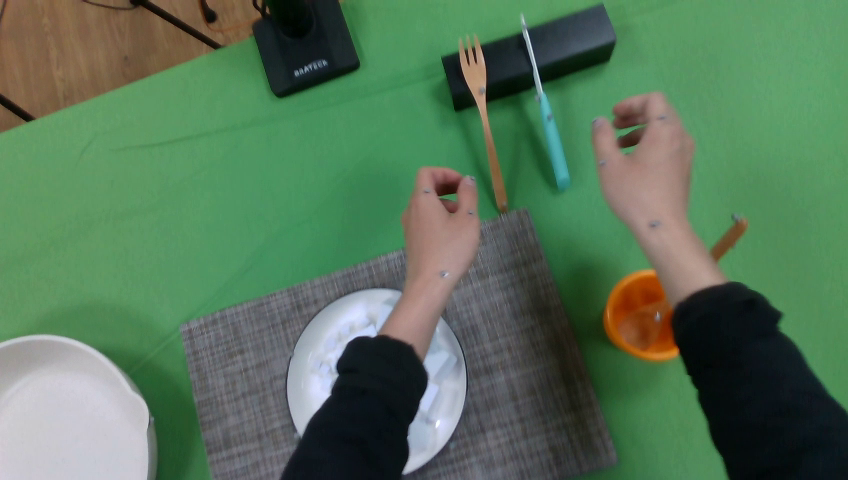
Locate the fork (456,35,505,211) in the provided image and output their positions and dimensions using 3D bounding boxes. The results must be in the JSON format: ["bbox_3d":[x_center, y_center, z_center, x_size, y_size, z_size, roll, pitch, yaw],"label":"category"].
[{"bbox_3d":[0.069,-0.136,0.715,0.028,0.018,0.207,-13,96,-1],"label":"fork"}]

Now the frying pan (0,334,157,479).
[{"bbox_3d":[-0.400,0.343,0.662,0.307,0.103,0.484,-26,69,2],"label":"frying pan"}]

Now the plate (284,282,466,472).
[{"bbox_3d":[-0.055,0.153,0.691,0.207,0.039,0.206,-1,79,6],"label":"plate"}]

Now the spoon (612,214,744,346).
[{"bbox_3d":[0.260,0.046,0.624,0.041,0.194,0.021,38,41,10],"label":"spoon"}]

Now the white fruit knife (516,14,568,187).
[{"bbox_3d":[0.136,-0.163,0.712,0.016,0.027,0.207,-16,93,2],"label":"white fruit knife"}]
